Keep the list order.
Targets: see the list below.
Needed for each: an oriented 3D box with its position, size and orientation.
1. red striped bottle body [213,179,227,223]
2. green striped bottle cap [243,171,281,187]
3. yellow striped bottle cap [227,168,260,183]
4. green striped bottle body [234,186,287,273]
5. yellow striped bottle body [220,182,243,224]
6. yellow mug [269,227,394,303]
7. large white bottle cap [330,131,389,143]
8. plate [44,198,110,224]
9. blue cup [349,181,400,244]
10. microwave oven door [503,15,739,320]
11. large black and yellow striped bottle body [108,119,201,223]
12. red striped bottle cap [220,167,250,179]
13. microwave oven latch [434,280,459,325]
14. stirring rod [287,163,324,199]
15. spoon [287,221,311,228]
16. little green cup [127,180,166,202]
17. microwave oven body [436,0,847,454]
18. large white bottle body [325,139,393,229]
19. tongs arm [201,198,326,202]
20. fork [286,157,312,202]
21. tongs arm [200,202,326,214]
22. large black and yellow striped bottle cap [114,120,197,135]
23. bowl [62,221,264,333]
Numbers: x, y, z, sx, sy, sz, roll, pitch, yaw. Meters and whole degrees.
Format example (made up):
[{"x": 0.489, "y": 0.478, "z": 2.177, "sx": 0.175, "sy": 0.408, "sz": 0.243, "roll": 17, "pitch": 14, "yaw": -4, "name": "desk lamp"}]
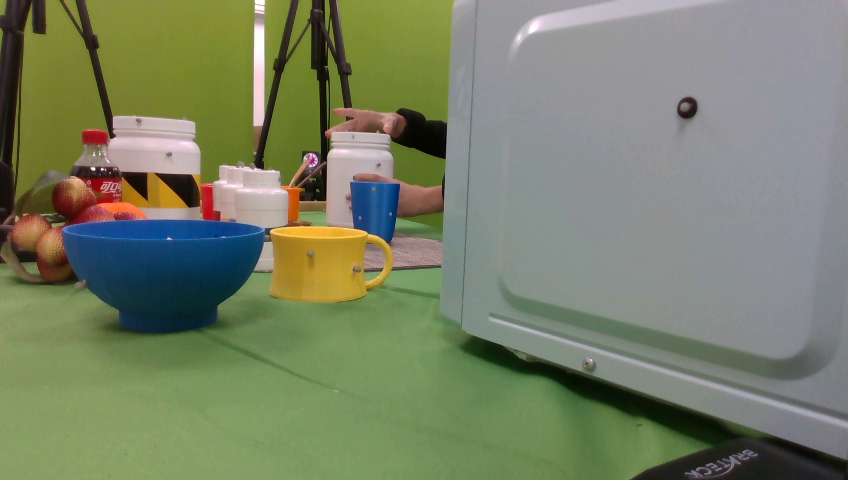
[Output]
[{"x": -0.284, "y": -0.048, "z": 0.910, "sx": 0.063, "sy": 0.119, "sz": 0.063, "roll": 3, "pitch": 12, "yaw": 0, "name": "red striped bottle body"}, {"x": -0.198, "y": -0.074, "z": 0.736, "sx": 0.044, "sy": 0.020, "sz": 0.044, "roll": 1, "pitch": 7, "yaw": 0, "name": "green striped bottle cap"}, {"x": -0.243, "y": -0.087, "z": 0.818, "sx": 0.044, "sy": 0.018, "sz": 0.044, "roll": 3, "pitch": 6, "yaw": 0, "name": "yellow striped bottle cap"}, {"x": -0.200, "y": -0.023, "z": 0.743, "sx": 0.063, "sy": 0.119, "sz": 0.063, "roll": 2, "pitch": 7, "yaw": 0, "name": "green striped bottle body"}, {"x": -0.246, "y": -0.036, "z": 0.825, "sx": 0.063, "sy": 0.120, "sz": 0.063, "roll": 3, "pitch": 8, "yaw": 0, "name": "yellow striped bottle body"}, {"x": -0.094, "y": 0.023, "z": 0.629, "sx": 0.131, "sy": 0.064, "sz": 0.099, "roll": 0, "pitch": 7, "yaw": -22, "name": "yellow mug"}, {"x": -0.125, "y": -0.199, "z": 1.178, "sx": 0.115, "sy": 0.018, "sz": 0.115, "roll": 2, "pitch": 7, "yaw": 0, "name": "large white bottle cap"}, {"x": -0.617, "y": -0.056, "z": 1.179, "sx": 0.209, "sy": 0.038, "sz": 0.209, "roll": 3, "pitch": 7, "yaw": 0, "name": "plate"}, {"x": -0.083, "y": -0.047, "z": 1.012, "sx": 0.093, "sy": 0.100, "sz": 0.092, "roll": 2, "pitch": 6, "yaw": 0, "name": "blue cup"}, {"x": 0.218, "y": -0.065, "z": 0.600, "sx": 0.358, "sy": 0.243, "sz": 0.039, "roll": -4, "pitch": 10, "yaw": -41, "name": "microwave oven door"}, {"x": -0.412, "y": -0.088, "z": 0.930, "sx": 0.131, "sy": 0.184, "sz": 0.130, "roll": 3, "pitch": 7, "yaw": 0, "name": "large black and yellow striped bottle body"}, {"x": -0.281, "y": -0.100, "z": 0.901, "sx": 0.044, "sy": 0.017, "sz": 0.044, "roll": -1, "pitch": 5, "yaw": 0, "name": "red striped bottle cap"}, {"x": 0.044, "y": 0.045, "z": 0.470, "sx": 0.079, "sy": 0.029, "sz": 0.030, "roll": -2, "pitch": 8, "yaw": -39, "name": "microwave oven latch"}, {"x": -0.278, "y": -0.105, "z": 1.294, "sx": 0.176, "sy": 0.006, "sz": 0.014, "roll": -47, "pitch": 25, "yaw": -18, "name": "stirring rod"}, {"x": -0.232, "y": -0.027, "z": 1.116, "sx": 0.041, "sy": 0.021, "sz": 0.193, "roll": -22, "pitch": 6, "yaw": 4, "name": "spoon"}, {"x": -0.485, "y": -0.086, "z": 1.061, "sx": 0.061, "sy": 0.038, "sz": 0.061, "roll": 1, "pitch": 7, "yaw": 0, "name": "little green cup"}, {"x": 0.279, "y": -0.040, "z": 0.465, "sx": 0.444, "sy": 0.260, "sz": 0.324, "roll": -3, "pitch": 9, "yaw": -41, "name": "microwave oven body"}, {"x": -0.127, "y": -0.114, "z": 1.189, "sx": 0.131, "sy": 0.184, "sz": 0.130, "roll": 2, "pitch": 7, "yaw": 0, "name": "large white bottle body"}, {"x": -0.433, "y": -0.090, "z": 1.508, "sx": 0.390, "sy": 0.028, "sz": 0.028, "roll": -1, "pitch": 2, "yaw": -29, "name": "tongs arm"}, {"x": -0.289, "y": -0.116, "z": 1.321, "sx": 0.028, "sy": 0.019, "sz": 0.207, "roll": 6, "pitch": 51, "yaw": 19, "name": "fork"}, {"x": -0.378, "y": -0.079, "z": 1.440, "sx": 0.387, "sy": 0.026, "sz": 0.050, "roll": -4, "pitch": 8, "yaw": -44, "name": "tongs arm"}, {"x": -0.407, "y": -0.171, "z": 0.920, "sx": 0.115, "sy": 0.019, "sz": 0.115, "roll": 2, "pitch": 9, "yaw": 0, "name": "large black and yellow striped bottle cap"}, {"x": -0.208, "y": 0.029, "z": 0.496, "sx": 0.151, "sy": 0.077, "sz": 0.151, "roll": 2, "pitch": 6, "yaw": 0, "name": "bowl"}]
